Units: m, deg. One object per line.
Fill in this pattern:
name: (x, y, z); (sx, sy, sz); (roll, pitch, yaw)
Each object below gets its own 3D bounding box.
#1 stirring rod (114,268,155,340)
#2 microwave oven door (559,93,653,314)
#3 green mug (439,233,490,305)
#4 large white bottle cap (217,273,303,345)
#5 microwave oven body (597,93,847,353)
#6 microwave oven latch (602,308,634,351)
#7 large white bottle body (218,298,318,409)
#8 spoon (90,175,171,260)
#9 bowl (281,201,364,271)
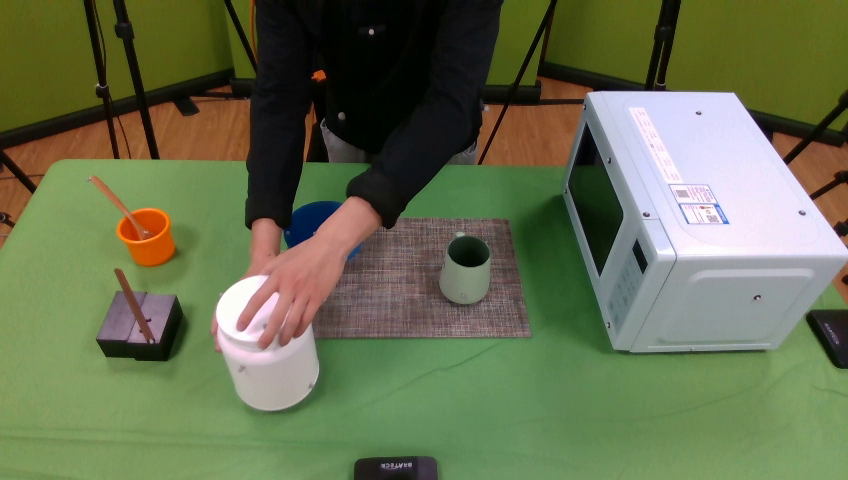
stirring rod: (-0.479, 0.102, 0.999); (0.014, 0.006, 0.175); (8, 32, -50)
microwave oven door: (0.327, -0.074, 1.123); (0.039, 0.245, 0.353); (-1, 46, -5)
green mug: (0.071, 0.044, 1.101); (0.092, 0.105, 0.124); (-6, 46, -9)
large white bottle cap: (-0.226, 0.094, 0.837); (0.115, 0.018, 0.114); (2, 47, -1)
microwave oven body: (0.475, -0.041, 1.109); (0.326, 0.261, 0.438); (-1, 45, -4)
microwave oven latch: (0.332, 0.153, 1.044); (0.030, 0.029, 0.078); (-1, 45, -4)
large white bottle body: (-0.229, 0.151, 0.899); (0.131, 0.185, 0.130); (2, 47, -2)
spoon: (-0.539, -0.042, 1.111); (0.021, 0.194, 0.041); (-15, 25, 51)
bowl: (-0.187, 0.005, 1.137); (0.151, 0.077, 0.150); (3, 46, -3)
